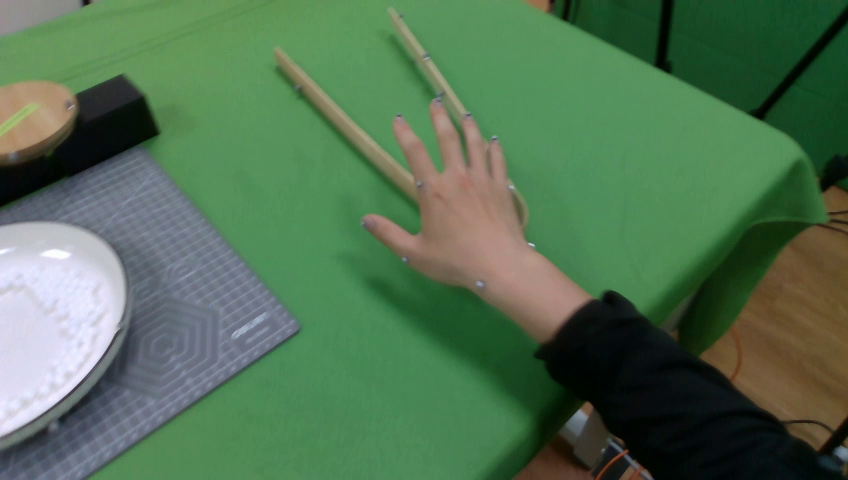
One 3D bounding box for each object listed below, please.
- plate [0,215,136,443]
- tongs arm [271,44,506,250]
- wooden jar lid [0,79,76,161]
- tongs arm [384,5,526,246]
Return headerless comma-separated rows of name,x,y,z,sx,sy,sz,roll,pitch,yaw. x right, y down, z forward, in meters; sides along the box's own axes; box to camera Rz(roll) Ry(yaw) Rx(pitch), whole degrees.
plate,-0.330,0.068,0.470,0.209,0.038,0.207,0,51,0
tongs arm,-0.058,-0.109,0.628,0.028,0.028,0.383,-31,57,-25
wooden jar lid,-0.383,-0.112,0.570,0.108,0.021,0.107,1,51,-1
tongs arm,0.014,-0.144,0.651,0.051,0.027,0.380,-21,54,-15
